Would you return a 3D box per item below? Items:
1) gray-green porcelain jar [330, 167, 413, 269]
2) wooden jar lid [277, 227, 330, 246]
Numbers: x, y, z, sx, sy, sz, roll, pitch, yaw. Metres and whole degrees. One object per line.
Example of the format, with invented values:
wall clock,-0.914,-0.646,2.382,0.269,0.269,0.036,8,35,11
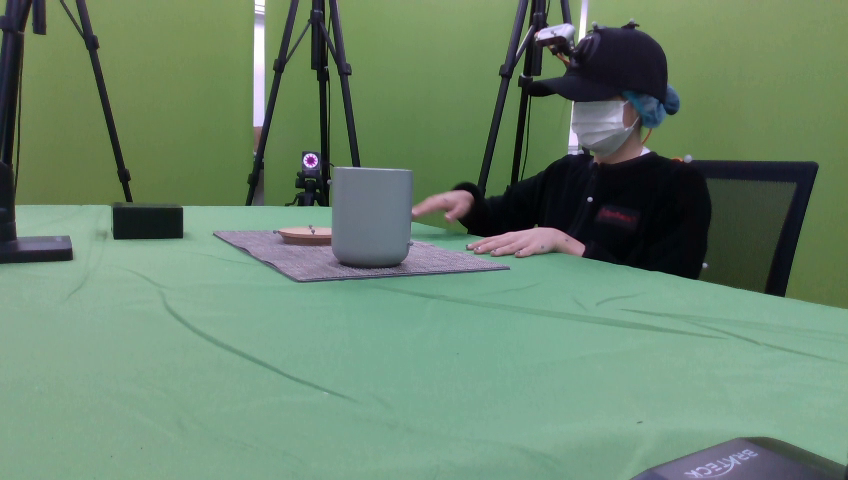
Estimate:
gray-green porcelain jar,-0.069,-0.030,0.791,0.106,0.126,0.106,3,7,0
wooden jar lid,-0.183,-0.006,0.979,0.108,0.020,0.108,3,8,0
